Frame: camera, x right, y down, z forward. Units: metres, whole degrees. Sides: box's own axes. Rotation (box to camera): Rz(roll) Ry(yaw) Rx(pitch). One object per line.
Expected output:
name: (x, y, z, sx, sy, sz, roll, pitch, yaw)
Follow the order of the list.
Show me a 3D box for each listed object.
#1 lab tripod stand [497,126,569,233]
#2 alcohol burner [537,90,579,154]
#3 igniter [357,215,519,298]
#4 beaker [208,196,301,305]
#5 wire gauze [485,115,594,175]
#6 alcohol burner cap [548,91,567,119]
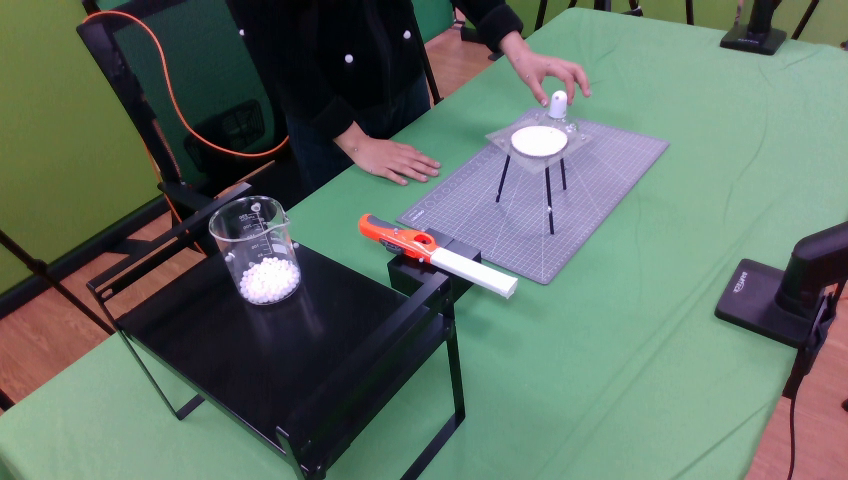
lab tripod stand: (0.188, -0.104, 0.979, 0.148, 0.132, 0.147, -3, 41, 3)
alcohol burner: (0.249, -0.220, 1.121, 0.078, 0.119, 0.077, -5, 39, 4)
igniter: (0.009, 0.018, 0.876, 0.274, 0.025, 0.057, 23, 46, 28)
beaker: (-0.173, 0.014, 0.647, 0.084, 0.101, 0.073, -1, 41, 8)
wire gauze: (0.177, -0.154, 0.935, 0.122, 0.011, 0.124, -26, 45, -21)
alcohol burner cap: (0.245, -0.247, 1.098, 0.034, 0.048, 0.033, -1, 46, 2)
